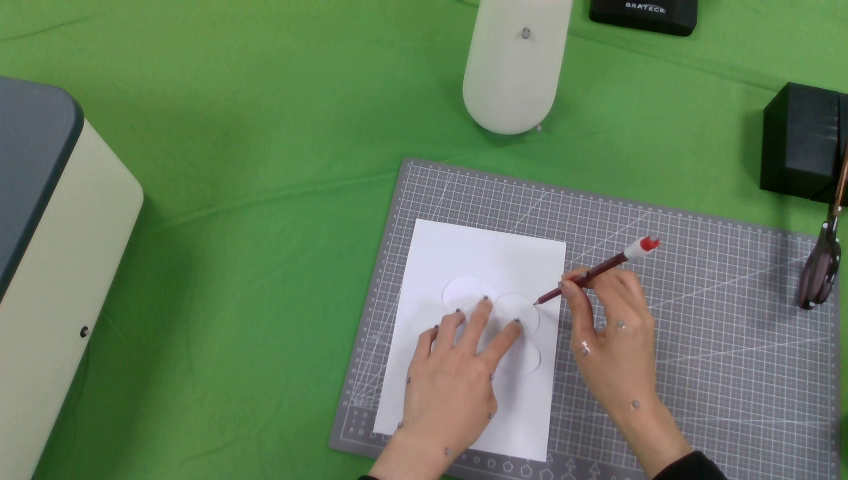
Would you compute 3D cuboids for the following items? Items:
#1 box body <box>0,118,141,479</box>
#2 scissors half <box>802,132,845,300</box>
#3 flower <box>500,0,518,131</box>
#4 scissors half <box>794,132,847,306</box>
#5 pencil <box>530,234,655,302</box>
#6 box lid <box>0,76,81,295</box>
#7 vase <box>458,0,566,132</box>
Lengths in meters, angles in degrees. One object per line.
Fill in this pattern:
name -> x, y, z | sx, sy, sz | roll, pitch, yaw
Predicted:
box body -> -0.434, 0.051, 0.505 | 0.254, 0.161, 0.362 | 11, 71, 4
scissors half -> 0.377, -0.026, 0.561 | 0.013, 0.040, 0.174 | 17, 71, 15
flower -> 0.079, -0.230, 0.500 | 0.044, 0.365, 0.038 | 5, 52, 5
scissors half -> 0.382, -0.021, 0.580 | 0.012, 0.040, 0.175 | 16, 89, 20
pencil -> 0.127, 0.029, 0.497 | 0.012, 0.194, 0.012 | 5, 71, -14
box lid -> -0.434, 0.023, 0.435 | 0.263, 0.015, 0.369 | 12, 70, 3
vase -> 0.083, -0.188, 0.574 | 0.098, 0.201, 0.097 | 0, 69, 1
